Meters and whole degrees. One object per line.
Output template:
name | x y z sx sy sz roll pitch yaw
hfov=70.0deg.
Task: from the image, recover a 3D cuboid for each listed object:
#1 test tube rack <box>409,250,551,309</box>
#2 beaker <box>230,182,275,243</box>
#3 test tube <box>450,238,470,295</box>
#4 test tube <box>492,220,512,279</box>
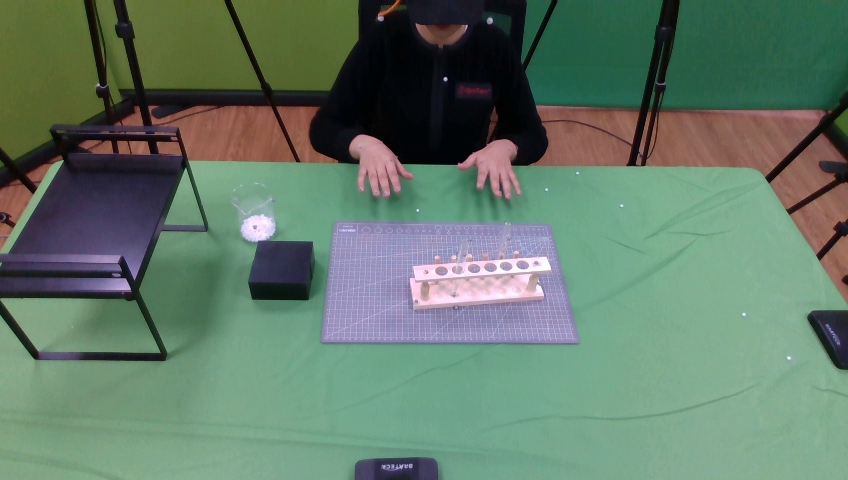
test tube rack | 0.098 0.065 1.096 0.243 0.085 0.066 -4 47 -8
beaker | -0.328 -0.049 1.166 0.074 0.101 0.083 2 47 -2
test tube | 0.060 0.048 1.040 0.017 0.151 0.017 3 51 -4
test tube | 0.138 0.018 1.082 0.017 0.151 0.017 2 47 -2
